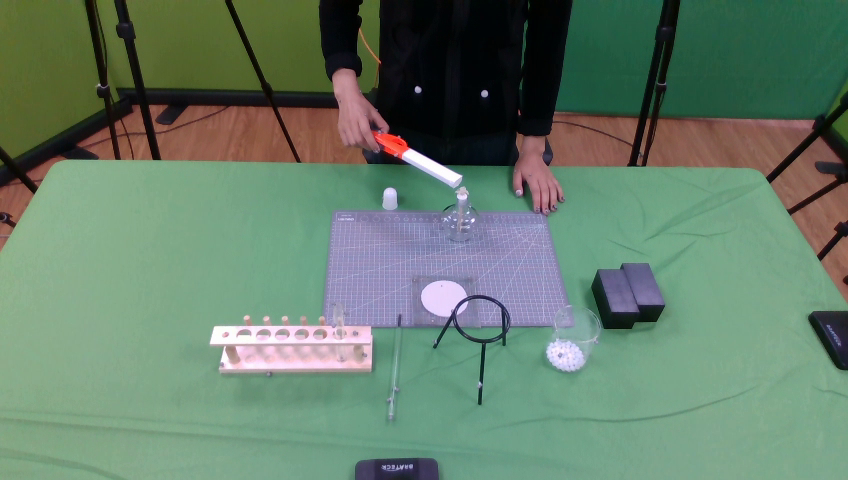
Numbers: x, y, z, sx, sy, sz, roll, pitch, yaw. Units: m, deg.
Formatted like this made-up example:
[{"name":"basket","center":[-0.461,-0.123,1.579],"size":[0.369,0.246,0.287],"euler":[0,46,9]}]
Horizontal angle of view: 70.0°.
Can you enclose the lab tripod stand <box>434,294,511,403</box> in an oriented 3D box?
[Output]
[{"name":"lab tripod stand","center":[0.087,0.164,0.969],"size":[0.148,0.132,0.147],"euler":[3,47,-3]}]

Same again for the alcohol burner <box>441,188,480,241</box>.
[{"name":"alcohol burner","center":[0.073,-0.055,1.189],"size":[0.078,0.120,0.077],"euler":[1,48,-1]}]

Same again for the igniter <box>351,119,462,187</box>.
[{"name":"igniter","center":[-0.043,-0.178,1.208],"size":[0.275,0.025,0.057],"euler":[31,47,23]}]

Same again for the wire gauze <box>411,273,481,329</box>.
[{"name":"wire gauze","center":[0.038,0.108,1.103],"size":[0.125,0.011,0.120],"euler":[2,47,-3]}]

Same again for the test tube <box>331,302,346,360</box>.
[{"name":"test tube","center":[-0.132,0.144,0.938],"size":[0.017,0.151,0.017],"euler":[2,49,-3]}]

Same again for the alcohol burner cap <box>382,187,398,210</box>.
[{"name":"alcohol burner cap","center":[-0.072,-0.090,1.266],"size":[0.034,0.048,0.033],"euler":[2,47,-2]}]

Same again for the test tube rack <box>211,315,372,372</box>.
[{"name":"test tube rack","center":[-0.208,0.163,0.982],"size":[0.242,0.085,0.066],"euler":[1,46,-4]}]

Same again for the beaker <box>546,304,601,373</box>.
[{"name":"beaker","center":[0.242,0.167,1.001],"size":[0.084,0.101,0.073],"euler":[-32,55,-28]}]

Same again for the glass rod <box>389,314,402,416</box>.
[{"name":"glass rod","center":[-0.048,0.203,1.008],"size":[0.008,0.008,0.198],"euler":[4,45,0]}]
